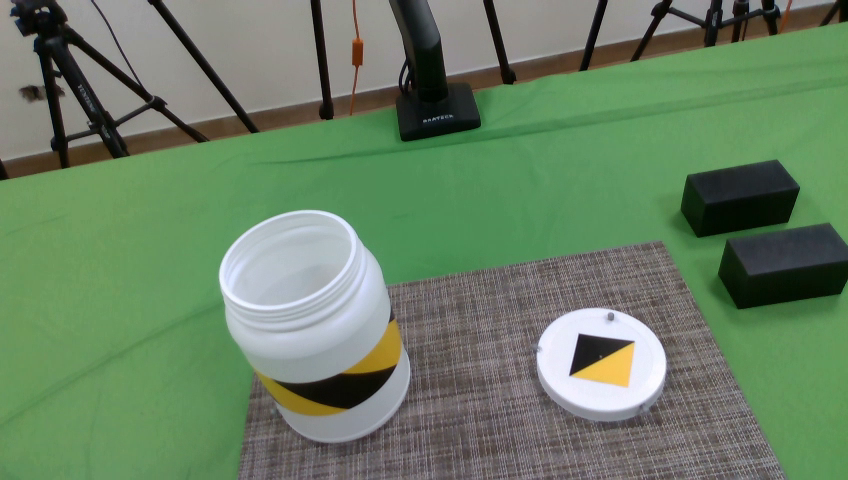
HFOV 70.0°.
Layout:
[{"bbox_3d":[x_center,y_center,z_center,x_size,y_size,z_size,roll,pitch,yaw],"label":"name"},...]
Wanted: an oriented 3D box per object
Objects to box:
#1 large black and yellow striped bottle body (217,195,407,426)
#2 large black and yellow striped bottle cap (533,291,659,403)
[{"bbox_3d":[-0.093,0.064,0.529,0.130,0.186,0.129,-6,46,6],"label":"large black and yellow striped bottle body"},{"bbox_3d":[0.159,0.096,0.564,0.115,0.019,0.114,-6,47,6],"label":"large black and yellow striped bottle cap"}]
